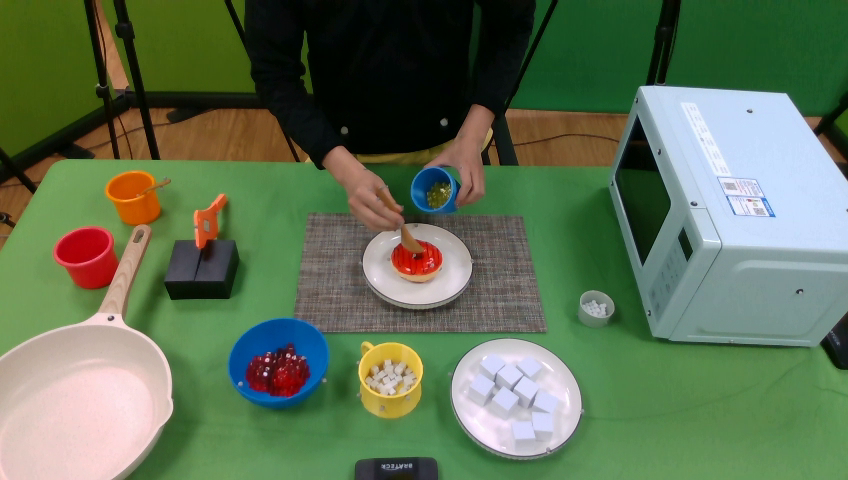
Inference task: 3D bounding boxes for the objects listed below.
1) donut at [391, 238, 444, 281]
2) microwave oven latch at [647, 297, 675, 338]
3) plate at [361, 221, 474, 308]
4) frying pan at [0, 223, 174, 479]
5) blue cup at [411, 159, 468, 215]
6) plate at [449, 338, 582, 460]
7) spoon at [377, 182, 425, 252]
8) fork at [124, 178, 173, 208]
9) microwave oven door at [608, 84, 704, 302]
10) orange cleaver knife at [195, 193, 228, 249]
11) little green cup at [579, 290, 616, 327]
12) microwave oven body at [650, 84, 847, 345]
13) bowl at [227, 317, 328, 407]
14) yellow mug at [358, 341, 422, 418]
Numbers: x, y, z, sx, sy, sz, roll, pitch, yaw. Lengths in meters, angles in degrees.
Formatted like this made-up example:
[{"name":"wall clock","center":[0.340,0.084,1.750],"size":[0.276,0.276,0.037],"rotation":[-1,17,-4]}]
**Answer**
[{"name":"donut","center":[-0.012,0.035,1.128],"size":[0.099,0.048,0.098],"rotation":[3,43,-2]},{"name":"microwave oven latch","center":[0.413,0.133,1.060],"size":[0.030,0.029,0.078],"rotation":[5,46,2]},{"name":"plate","center":[-0.011,0.049,1.130],"size":[0.209,0.038,0.208],"rotation":[2,46,-2]},{"name":"frying pan","center":[-0.505,0.169,0.941],"size":[0.307,0.103,0.485],"rotation":[5,54,-1]},{"name":"blue cup","center":[0.036,-0.088,1.144],"size":[0.092,0.101,0.092],"rotation":[-8,73,27]},{"name":"plate","center":[0.141,0.251,0.955],"size":[0.208,0.039,0.206],"rotation":[2,46,-2]},{"name":"spoon","center":[-0.041,-0.036,1.023],"size":[0.041,0.195,0.021],"rotation":[8,55,28]},{"name":"fork","center":[-0.525,-0.089,1.153],"size":[0.207,0.019,0.028],"rotation":[-17,27,45]},{"name":"microwave oven door","center":[0.424,-0.096,1.138],"size":[0.039,0.245,0.353],"rotation":[2,47,-1]},{"name":"orange cleaver knife","center":[-0.406,-0.041,1.163],"size":[0.012,0.077,0.210],"rotation":[0,18,-3]},{"name":"little green cup","center":[0.308,0.124,1.086],"size":[0.061,0.039,0.061],"rotation":[1,45,-1]},{"name":"microwave oven body","center":[0.569,-0.054,1.115],"size":[0.326,0.261,0.439],"rotation":[2,46,-1]},{"name":"bowl","center":[-0.222,0.203,0.947],"size":[0.151,0.077,0.150],"rotation":[2,46,-2]},{"name":"yellow mug","center":[-0.063,0.210,0.961],"size":[0.100,0.064,0.130],"rotation":[-29,54,-28]}]
